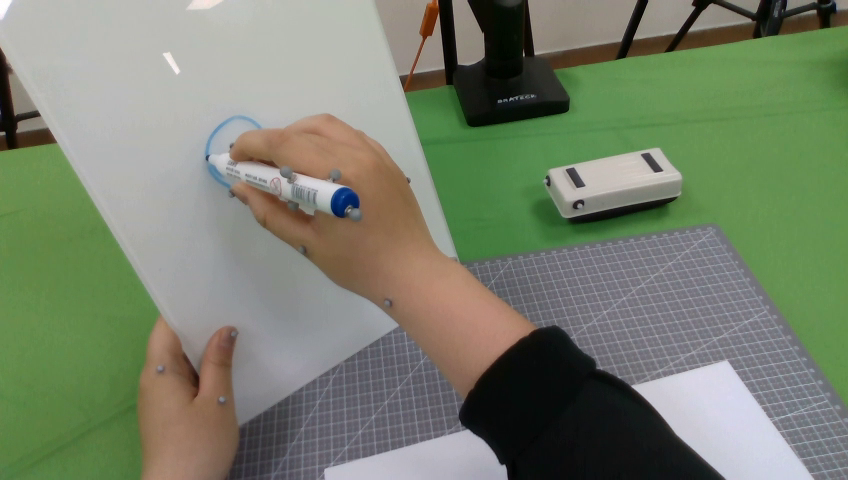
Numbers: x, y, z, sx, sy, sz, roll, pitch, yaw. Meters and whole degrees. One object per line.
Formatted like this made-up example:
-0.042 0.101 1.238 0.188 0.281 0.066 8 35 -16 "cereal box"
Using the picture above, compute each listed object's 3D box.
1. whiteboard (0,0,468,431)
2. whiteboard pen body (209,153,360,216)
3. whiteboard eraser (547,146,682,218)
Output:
-0.127 -0.059 0.464 0.217 0.308 0.142 -30 28 -21 "whiteboard"
-0.085 -0.035 0.335 0.139 0.017 0.017 19 49 41 "whiteboard pen body"
0.176 -0.052 0.565 0.113 0.042 0.055 -11 46 -5 "whiteboard eraser"
